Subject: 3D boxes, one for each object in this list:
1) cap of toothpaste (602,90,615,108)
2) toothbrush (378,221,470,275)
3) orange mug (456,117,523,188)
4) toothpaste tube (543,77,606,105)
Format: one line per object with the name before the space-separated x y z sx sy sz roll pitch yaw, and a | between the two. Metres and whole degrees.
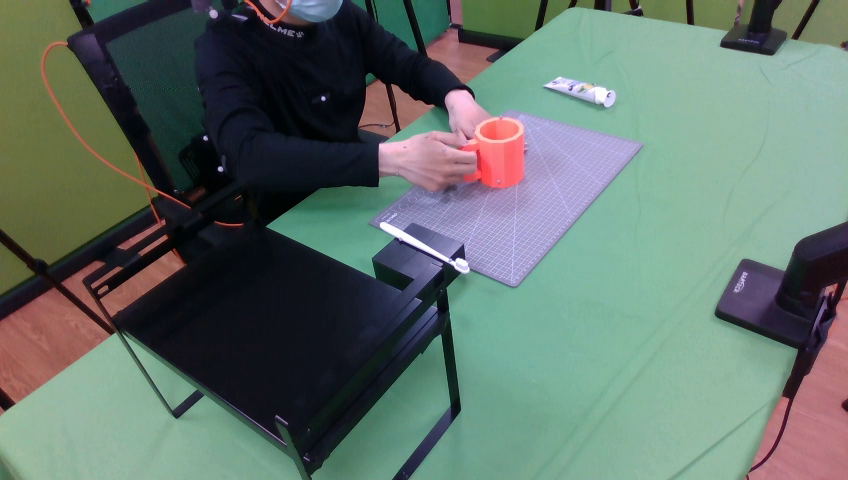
cap of toothpaste | 0.378 -0.291 1.245 0.037 0.037 0.011 -30 41 -25
toothbrush | -0.004 0.007 0.894 0.180 0.017 0.014 27 55 34
orange mug | 0.117 -0.152 1.071 0.127 0.101 0.083 -14 41 -14
toothpaste tube | 0.333 -0.324 1.300 0.055 0.034 0.163 -27 40 -28
